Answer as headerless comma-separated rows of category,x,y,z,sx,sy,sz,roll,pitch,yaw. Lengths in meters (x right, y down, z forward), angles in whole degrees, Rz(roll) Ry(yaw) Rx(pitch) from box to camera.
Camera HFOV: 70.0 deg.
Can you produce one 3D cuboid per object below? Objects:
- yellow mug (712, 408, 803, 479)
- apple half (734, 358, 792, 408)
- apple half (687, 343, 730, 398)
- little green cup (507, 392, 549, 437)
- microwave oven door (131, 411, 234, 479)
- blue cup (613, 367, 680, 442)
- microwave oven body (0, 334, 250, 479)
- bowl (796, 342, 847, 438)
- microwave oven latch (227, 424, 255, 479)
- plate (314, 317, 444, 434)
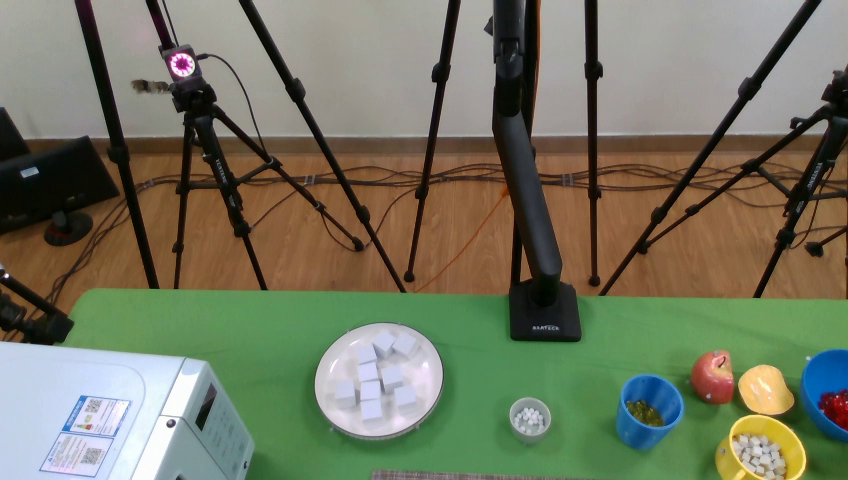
yellow mug,0.457,0.305,0.850,0.131,0.064,0.099,-32,54,-22
apple half,0.520,0.226,0.939,0.081,0.033,0.080,-5,61,10
apple half,0.437,0.202,0.939,0.053,0.075,0.080,2,52,12
little green cup,0.157,0.267,0.921,0.061,0.039,0.061,-2,47,2
microwave oven door,-0.306,0.403,0.664,0.039,0.246,0.352,3,48,7
blue cup,0.317,0.248,0.886,0.092,0.101,0.091,-1,50,2
microwave oven body,-0.445,0.367,0.712,0.326,0.262,0.437,4,49,6
bowl,0.622,0.235,0.895,0.151,0.077,0.150,-2,49,3
microwave oven latch,-0.273,0.309,0.884,0.030,0.030,0.078,7,49,8
plate,-0.071,0.219,0.979,0.207,0.039,0.205,-2,48,2
